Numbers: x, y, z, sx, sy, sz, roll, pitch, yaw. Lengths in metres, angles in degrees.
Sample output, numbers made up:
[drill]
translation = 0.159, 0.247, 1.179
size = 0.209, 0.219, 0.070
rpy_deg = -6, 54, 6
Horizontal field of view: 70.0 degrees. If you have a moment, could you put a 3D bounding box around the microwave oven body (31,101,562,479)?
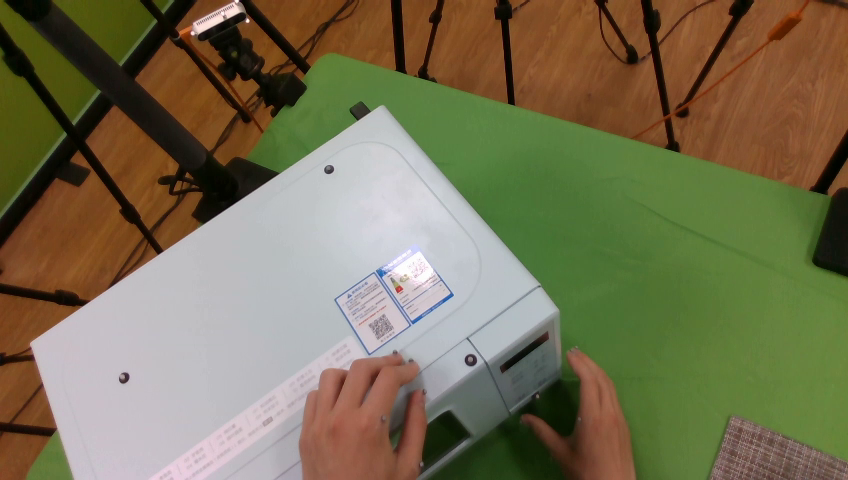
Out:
[microwave oven body]
translation = -0.120, 0.120, 0.675
size = 0.441, 0.262, 0.323
rpy_deg = -36, 63, -5

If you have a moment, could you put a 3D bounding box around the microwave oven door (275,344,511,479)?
[microwave oven door]
translation = -0.076, 0.243, 0.599
size = 0.356, 0.246, 0.039
rpy_deg = -36, 61, -5

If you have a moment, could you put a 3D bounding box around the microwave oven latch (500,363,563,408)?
[microwave oven latch]
translation = 0.125, 0.162, 0.708
size = 0.079, 0.030, 0.030
rpy_deg = -34, 62, -4
